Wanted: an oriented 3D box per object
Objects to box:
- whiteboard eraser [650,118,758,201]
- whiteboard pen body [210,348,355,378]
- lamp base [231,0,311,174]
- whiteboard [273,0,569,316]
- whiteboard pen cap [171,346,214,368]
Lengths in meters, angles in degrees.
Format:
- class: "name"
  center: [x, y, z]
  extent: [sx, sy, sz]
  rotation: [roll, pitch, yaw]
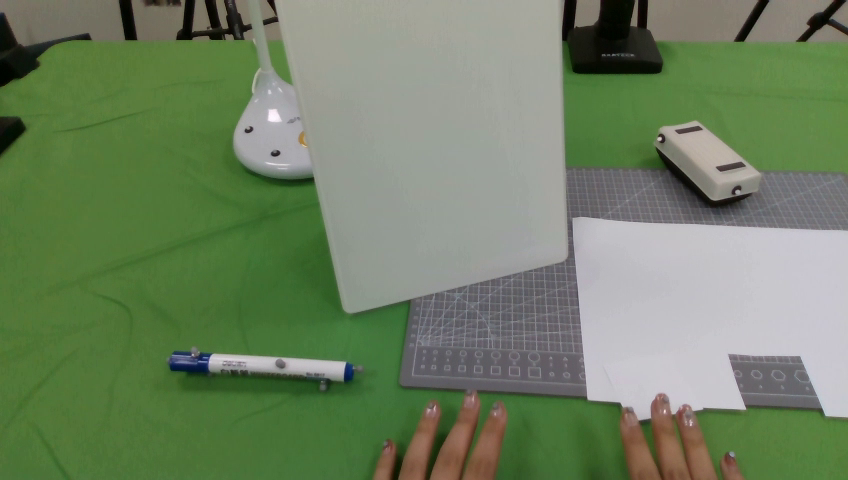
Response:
- class: "whiteboard eraser"
  center: [0.294, -0.085, 0.643]
  extent: [0.056, 0.042, 0.111]
  rotation: [-14, 45, -10]
- class: "whiteboard pen body"
  center: [-0.126, 0.098, 0.486]
  extent: [0.141, 0.017, 0.017]
  rotation: [3, 44, 4]
- class: "lamp base"
  center: [-0.161, -0.192, 0.681]
  extent: [0.160, 0.182, 0.177]
  rotation: [-34, 49, -28]
- class: "whiteboard"
  center: [-0.003, -0.119, 0.548]
  extent: [0.217, 0.307, 0.142]
  rotation: [-13, 25, -9]
- class: "whiteboard pen cap"
  center: [-0.185, 0.095, 0.490]
  extent: [0.033, 0.018, 0.018]
  rotation: [3, 44, 2]
